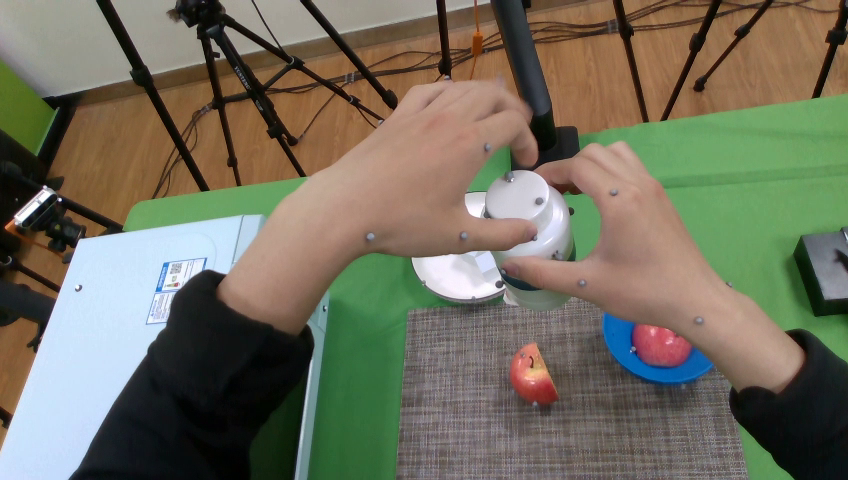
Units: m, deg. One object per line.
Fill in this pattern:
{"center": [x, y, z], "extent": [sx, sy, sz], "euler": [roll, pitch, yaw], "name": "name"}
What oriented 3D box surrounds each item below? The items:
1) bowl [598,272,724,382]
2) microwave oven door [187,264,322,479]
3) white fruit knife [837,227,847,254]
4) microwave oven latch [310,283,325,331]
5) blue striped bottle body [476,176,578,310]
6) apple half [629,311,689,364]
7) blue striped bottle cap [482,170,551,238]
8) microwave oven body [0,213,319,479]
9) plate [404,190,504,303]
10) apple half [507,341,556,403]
{"center": [0.312, 0.126, 0.809], "extent": [0.151, 0.077, 0.150], "euler": [-9, 57, 13], "name": "bowl"}
{"center": [-0.212, 0.241, 0.788], "extent": [0.039, 0.246, 0.352], "euler": [-8, 57, 13], "name": "microwave oven door"}
{"center": [0.558, 0.080, 0.759], "extent": [0.016, 0.027, 0.206], "euler": [-21, 70, 26], "name": "white fruit knife"}
{"center": [-0.179, 0.109, 0.985], "extent": [0.030, 0.030, 0.078], "euler": [-7, 58, 13], "name": "microwave oven latch"}
{"center": [0.077, 0.001, 0.448], "extent": [0.063, 0.122, 0.062], "euler": [-9, 58, 15], "name": "blue striped bottle body"}
{"center": [0.312, 0.125, 0.804], "extent": [0.081, 0.033, 0.080], "euler": [-9, 55, 13], "name": "apple half"}
{"center": [0.061, -0.024, 0.405], "extent": [0.044, 0.021, 0.044], "euler": [-9, 56, 14], "name": "blue striped bottle cap"}
{"center": [-0.351, 0.227, 0.847], "extent": [0.325, 0.263, 0.437], "euler": [-7, 58, 13], "name": "microwave oven body"}
{"center": [0.072, 0.012, 0.989], "extent": [0.207, 0.039, 0.205], "euler": [-8, 57, 13], "name": "plate"}
{"center": [0.142, 0.187, 0.829], "extent": [0.053, 0.075, 0.080], "euler": [-25, 58, 6], "name": "apple half"}
